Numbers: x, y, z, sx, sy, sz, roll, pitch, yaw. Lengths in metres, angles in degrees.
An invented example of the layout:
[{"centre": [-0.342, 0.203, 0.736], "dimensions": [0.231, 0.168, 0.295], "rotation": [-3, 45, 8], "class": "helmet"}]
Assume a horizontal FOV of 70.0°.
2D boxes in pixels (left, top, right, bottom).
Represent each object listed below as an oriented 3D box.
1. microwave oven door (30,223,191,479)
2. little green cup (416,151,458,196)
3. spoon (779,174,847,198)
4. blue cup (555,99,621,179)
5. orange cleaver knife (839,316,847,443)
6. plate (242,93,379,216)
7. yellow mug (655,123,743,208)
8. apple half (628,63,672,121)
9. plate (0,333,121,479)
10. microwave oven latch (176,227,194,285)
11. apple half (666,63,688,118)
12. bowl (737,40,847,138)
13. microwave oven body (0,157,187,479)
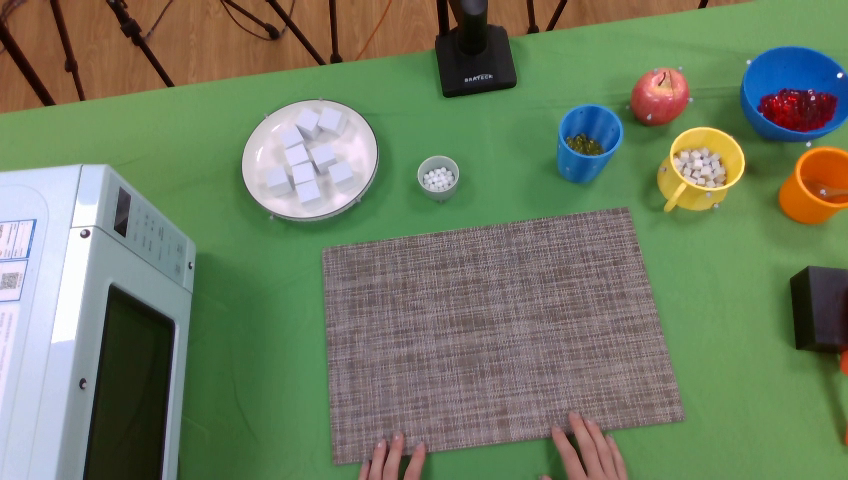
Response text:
[{"centre": [-0.341, 0.188, 0.682], "dimensions": [0.039, 0.245, 0.353], "rotation": [-5, 68, 3], "class": "microwave oven door"}, {"centre": [0.020, -0.096, 0.896], "dimensions": [0.061, 0.039, 0.061], "rotation": [-2, 68, 4], "class": "little green cup"}, {"centre": [0.559, -0.064, 0.783], "dimensions": [0.041, 0.192, 0.022], "rotation": [-48, 116, -13], "class": "spoon"}, {"centre": [0.226, -0.136, 0.862], "dimensions": [0.092, 0.101, 0.092], "rotation": [-1, 70, 3], "class": "blue cup"}, {"centre": [0.529, 0.140, 0.740], "dimensions": [0.012, 0.077, 0.211], "rotation": [6, 99, 9], "class": "orange cleaver knife"}, {"centre": [-0.170, -0.127, 0.922], "dimensions": [0.207, 0.039, 0.206], "rotation": [-1, 68, 4], "class": "plate"}, {"centre": [0.376, -0.095, 0.853], "dimensions": [0.099, 0.064, 0.130], "rotation": [39, 77, 17], "class": "yellow mug"}, {"centre": [0.332, -0.217, 0.901], "dimensions": [0.053, 0.075, 0.080], "rotation": [-3, 71, 7], "class": "apple half"}, {"centre": [-0.471, 0.219, 0.740], "dimensions": [0.209, 0.038, 0.207], "rotation": [-1, 69, 3], "class": "plate"}, {"centre": [-0.344, 0.024, 0.856], "dimensions": [0.030, 0.030, 0.078], "rotation": [-3, 69, 3], "class": "microwave oven latch"}, {"centre": [0.371, -0.219, 0.897], "dimensions": [0.033, 0.082, 0.080], "rotation": [-3, 68, 7], "class": "apple half"}, {"centre": [0.523, -0.204, 0.878], "dimensions": [0.151, 0.077, 0.150], "rotation": [-2, 69, 4], "class": "bowl"}, {"centre": [-0.488, 0.163, 0.708], "dimensions": [0.326, 0.262, 0.438], "rotation": [-5, 69, 2], "class": "microwave oven body"}]
